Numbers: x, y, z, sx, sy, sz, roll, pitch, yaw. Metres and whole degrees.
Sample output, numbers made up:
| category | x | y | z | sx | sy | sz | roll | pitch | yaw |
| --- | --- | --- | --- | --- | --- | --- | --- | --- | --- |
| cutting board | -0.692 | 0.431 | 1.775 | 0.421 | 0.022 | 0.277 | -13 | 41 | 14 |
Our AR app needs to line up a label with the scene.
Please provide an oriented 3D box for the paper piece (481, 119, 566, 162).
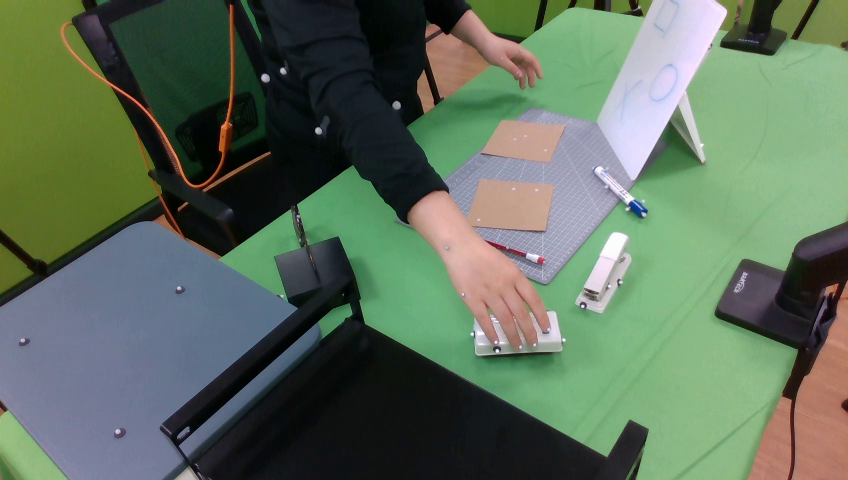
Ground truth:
| category | x | y | z | sx | sy | sz | roll | pitch | yaw |
| --- | --- | --- | --- | --- | --- | --- | --- | --- | --- |
| paper piece | 0.197 | -0.199 | 1.188 | 0.135 | 0.004 | 0.135 | 11 | 44 | 22 |

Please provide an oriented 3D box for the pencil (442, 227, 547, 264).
| category | x | y | z | sx | sy | sz | roll | pitch | yaw |
| --- | --- | --- | --- | --- | --- | --- | --- | --- | --- |
| pencil | 0.107 | 0.005 | 0.959 | 0.192 | 0.012 | 0.012 | 19 | 47 | 31 |

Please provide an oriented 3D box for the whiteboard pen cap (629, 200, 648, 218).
| category | x | y | z | sx | sy | sz | roll | pitch | yaw |
| --- | --- | --- | --- | --- | --- | --- | --- | --- | --- |
| whiteboard pen cap | 0.348 | -0.052 | 0.983 | 0.018 | 0.018 | 0.033 | -18 | 41 | -12 |

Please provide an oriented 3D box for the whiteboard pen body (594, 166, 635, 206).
| category | x | y | z | sx | sy | sz | roll | pitch | yaw |
| --- | --- | --- | --- | --- | --- | --- | --- | --- | --- |
| whiteboard pen body | 0.331 | -0.085 | 1.027 | 0.017 | 0.017 | 0.139 | -16 | 41 | -10 |

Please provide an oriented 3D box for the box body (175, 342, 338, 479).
| category | x | y | z | sx | sy | sz | roll | pitch | yaw |
| --- | --- | --- | --- | --- | --- | --- | --- | --- | --- |
| box body | -0.311 | 0.165 | 0.720 | 0.361 | 0.161 | 0.255 | 23 | 48 | 32 |

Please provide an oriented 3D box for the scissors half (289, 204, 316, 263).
| category | x | y | z | sx | sy | sz | roll | pitch | yaw |
| --- | --- | --- | --- | --- | --- | --- | --- | --- | --- |
| scissors half | -0.190 | -0.010 | 0.944 | 0.013 | 0.040 | 0.173 | -16 | 37 | -17 |

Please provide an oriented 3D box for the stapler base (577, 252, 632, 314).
| category | x | y | z | sx | sy | sz | roll | pitch | yaw |
| --- | --- | --- | --- | --- | --- | --- | --- | --- | --- |
| stapler base | 0.264 | 0.051 | 0.875 | 0.041 | 0.024 | 0.131 | 16 | 47 | 30 |

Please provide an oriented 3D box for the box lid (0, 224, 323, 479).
| category | x | y | z | sx | sy | sz | roll | pitch | yaw |
| --- | --- | --- | --- | --- | --- | --- | --- | --- | --- |
| box lid | -0.318 | 0.110 | 0.671 | 0.368 | 0.015 | 0.264 | 24 | 49 | 32 |

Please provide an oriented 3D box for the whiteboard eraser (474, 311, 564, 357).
| category | x | y | z | sx | sy | sz | roll | pitch | yaw |
| --- | --- | --- | --- | --- | --- | --- | --- | --- | --- |
| whiteboard eraser | 0.123 | 0.125 | 0.793 | 0.113 | 0.042 | 0.055 | -5 | 39 | 3 |

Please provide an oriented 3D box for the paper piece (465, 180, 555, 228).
| category | x | y | z | sx | sy | sz | roll | pitch | yaw |
| --- | --- | --- | --- | --- | --- | --- | --- | --- | --- |
| paper piece | 0.149 | -0.062 | 1.034 | 0.137 | 0.009 | 0.136 | 4 | 37 | 17 |

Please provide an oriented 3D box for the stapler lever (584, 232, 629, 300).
| category | x | y | z | sx | sy | sz | roll | pitch | yaw |
| --- | --- | --- | --- | --- | --- | --- | --- | --- | --- |
| stapler lever | 0.260 | 0.034 | 0.858 | 0.026 | 0.040 | 0.118 | 16 | 46 | 30 |

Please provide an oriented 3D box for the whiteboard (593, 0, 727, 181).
| category | x | y | z | sx | sy | sz | roll | pitch | yaw |
| --- | --- | --- | --- | --- | --- | --- | --- | --- | --- |
| whiteboard | 0.453 | -0.272 | 1.055 | 0.144 | 0.305 | 0.216 | 9 | 38 | -12 |

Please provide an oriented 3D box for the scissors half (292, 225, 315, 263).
| category | x | y | z | sx | sy | sz | roll | pitch | yaw |
| --- | --- | --- | --- | --- | --- | --- | --- | --- | --- |
| scissors half | -0.187 | 0.007 | 0.954 | 0.013 | 0.040 | 0.174 | -21 | 21 | -13 |
